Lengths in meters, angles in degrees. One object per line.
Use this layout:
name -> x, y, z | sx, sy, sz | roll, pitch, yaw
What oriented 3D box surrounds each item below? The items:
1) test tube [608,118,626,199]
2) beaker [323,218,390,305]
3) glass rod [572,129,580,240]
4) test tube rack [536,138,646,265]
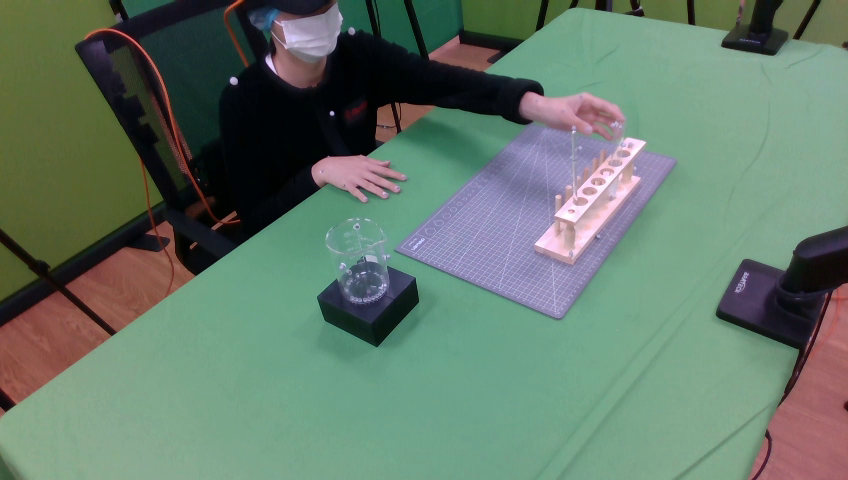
test tube -> 0.301, -0.124, 0.945 | 0.017, 0.151, 0.017 | -6, 44, 6
beaker -> -0.084, 0.031, 0.813 | 0.084, 0.101, 0.073 | -1, 41, 8
glass rod -> 0.220, -0.074, 0.871 | 0.008, 0.201, 0.008 | -8, 42, 8
test tube rack -> 0.268, -0.071, 0.964 | 0.066, 0.085, 0.243 | 23, 49, 32
